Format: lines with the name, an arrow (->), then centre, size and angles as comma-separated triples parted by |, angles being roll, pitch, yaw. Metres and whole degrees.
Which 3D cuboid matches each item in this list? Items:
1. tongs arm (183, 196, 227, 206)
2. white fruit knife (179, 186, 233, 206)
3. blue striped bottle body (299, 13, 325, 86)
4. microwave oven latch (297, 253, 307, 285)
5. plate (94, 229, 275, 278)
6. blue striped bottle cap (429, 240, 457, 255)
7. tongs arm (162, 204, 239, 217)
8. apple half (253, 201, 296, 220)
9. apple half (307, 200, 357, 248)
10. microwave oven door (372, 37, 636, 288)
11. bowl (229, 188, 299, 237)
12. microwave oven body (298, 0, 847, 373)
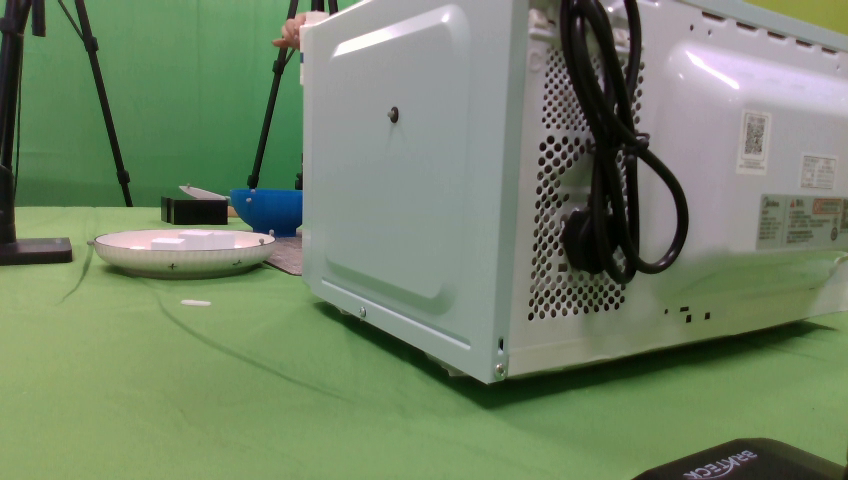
tongs arm -> -0.404, -0.081, 1.479 | 0.385, 0.026, 0.050 | 3, 8, -2
white fruit knife -> -0.413, -0.081, 1.270 | 0.208, 0.027, 0.016 | 17, 13, -41
blue striped bottle body -> -0.182, -0.323, 1.034 | 0.063, 0.121, 0.063 | 2, 16, 0
microwave oven latch -> -0.081, 0.027, 0.582 | 0.079, 0.029, 0.030 | -1, 7, -32
plate -> -0.291, 0.016, 0.750 | 0.208, 0.039, 0.207 | 2, 7, 0
blue striped bottle cap -> 0.029, 0.011, 0.945 | 0.044, 0.020, 0.044 | 1, 5, 0
tongs arm -> -0.396, -0.066, 1.399 | 0.389, 0.028, 0.028 | 1, 5, -15
apple half -> -0.264, -0.053, 1.066 | 0.081, 0.033, 0.081 | 1, 8, 0
apple half -> -0.135, -0.024, 0.941 | 0.053, 0.074, 0.081 | 13, 9, 39
microwave oven door -> 0.110, -0.080, 0.686 | 0.358, 0.243, 0.039 | -2, 9, -33
bowl -> -0.264, -0.048, 1.065 | 0.151, 0.077, 0.151 | 3, 8, 0
microwave oven body -> 0.151, -0.055, 0.542 | 0.444, 0.260, 0.324 | -2, 7, -33
